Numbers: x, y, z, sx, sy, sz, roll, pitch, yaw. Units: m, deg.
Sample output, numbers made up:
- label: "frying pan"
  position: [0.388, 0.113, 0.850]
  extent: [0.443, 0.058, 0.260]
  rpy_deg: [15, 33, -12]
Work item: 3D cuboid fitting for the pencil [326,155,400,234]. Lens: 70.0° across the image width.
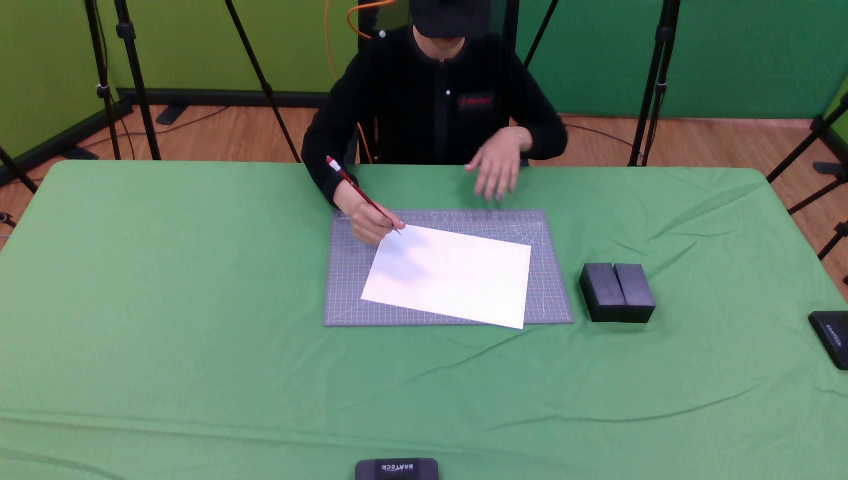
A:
- label: "pencil"
  position: [-0.109, -0.080, 1.103]
  extent: [0.194, 0.012, 0.012]
  rpy_deg: [47, 49, -15]
